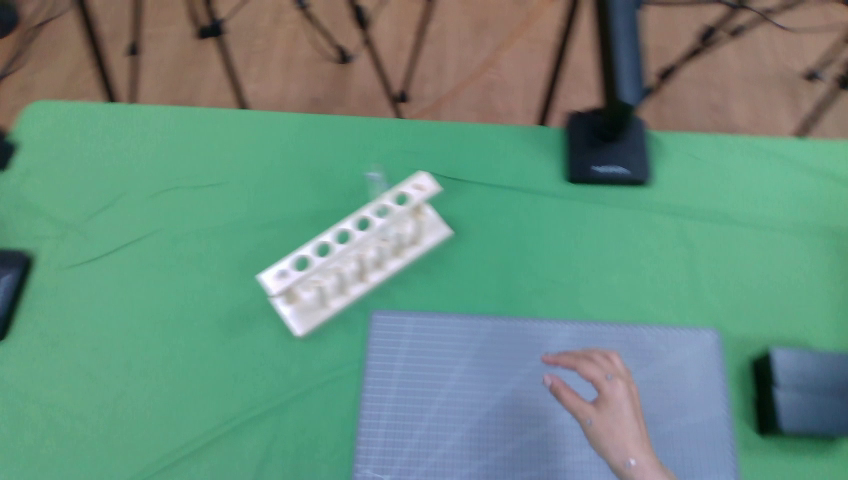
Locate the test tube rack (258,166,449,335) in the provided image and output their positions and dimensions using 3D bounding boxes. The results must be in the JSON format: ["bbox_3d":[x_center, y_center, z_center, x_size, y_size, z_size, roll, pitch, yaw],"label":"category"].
[{"bbox_3d":[-0.080,0.013,0.767,0.242,0.086,0.066,-35,70,-16],"label":"test tube rack"}]

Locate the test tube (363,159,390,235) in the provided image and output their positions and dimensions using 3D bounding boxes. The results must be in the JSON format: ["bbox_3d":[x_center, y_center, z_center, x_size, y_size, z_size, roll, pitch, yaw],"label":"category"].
[{"bbox_3d":[-0.057,-0.048,0.741,0.017,0.151,0.017,-1,60,3],"label":"test tube"}]
